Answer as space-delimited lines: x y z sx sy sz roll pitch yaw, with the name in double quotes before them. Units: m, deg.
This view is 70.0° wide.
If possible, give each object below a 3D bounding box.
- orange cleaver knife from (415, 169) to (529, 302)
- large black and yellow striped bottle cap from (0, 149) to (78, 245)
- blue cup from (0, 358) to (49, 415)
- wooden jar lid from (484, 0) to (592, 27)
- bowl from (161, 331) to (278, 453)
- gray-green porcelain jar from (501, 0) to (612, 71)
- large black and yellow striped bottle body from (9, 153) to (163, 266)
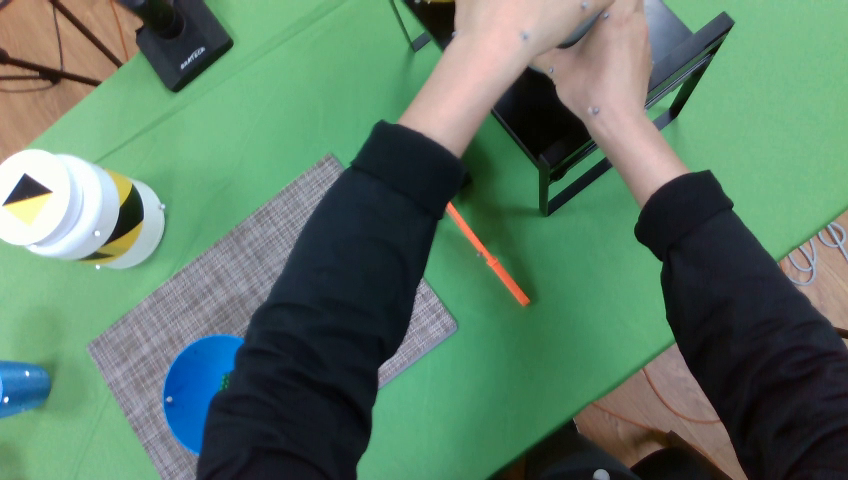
"orange cleaver knife" 0.060 -0.005 0.760 0.012 0.076 0.212 -41 107 -1
"large black and yellow striped bottle cap" -0.470 -0.052 0.723 0.115 0.019 0.114 -1 84 10
"blue cup" -0.581 0.201 0.837 0.092 0.100 0.092 -1 82 8
"wooden jar lid" 0.094 -0.223 0.482 0.108 0.021 0.108 1 95 13
"bowl" -0.250 0.193 0.787 0.151 0.077 0.151 -1 82 10
"gray-green porcelain jar" 0.124 -0.227 0.572 0.105 0.127 0.105 -1 82 11
"large black and yellow striped bottle body" -0.456 -0.038 0.805 0.130 0.185 0.130 -1 81 10
